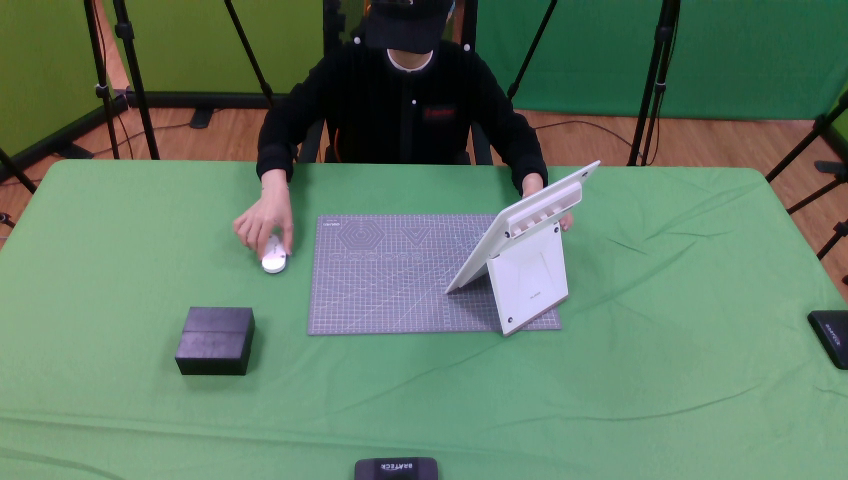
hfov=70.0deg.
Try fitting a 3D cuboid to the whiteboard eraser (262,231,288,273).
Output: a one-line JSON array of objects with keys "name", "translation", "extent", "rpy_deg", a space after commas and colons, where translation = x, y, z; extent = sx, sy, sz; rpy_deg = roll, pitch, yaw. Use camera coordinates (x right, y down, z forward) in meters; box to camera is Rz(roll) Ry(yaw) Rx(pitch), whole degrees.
[{"name": "whiteboard eraser", "translation": [-0.284, 0.023, 1.158], "extent": [0.041, 0.019, 0.100], "rpy_deg": [0, 46, -4]}]

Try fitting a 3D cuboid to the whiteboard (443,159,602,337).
[{"name": "whiteboard", "translation": [0.193, 0.036, 1.018], "extent": [0.217, 0.306, 0.143], "rpy_deg": [-26, 72, -26]}]
